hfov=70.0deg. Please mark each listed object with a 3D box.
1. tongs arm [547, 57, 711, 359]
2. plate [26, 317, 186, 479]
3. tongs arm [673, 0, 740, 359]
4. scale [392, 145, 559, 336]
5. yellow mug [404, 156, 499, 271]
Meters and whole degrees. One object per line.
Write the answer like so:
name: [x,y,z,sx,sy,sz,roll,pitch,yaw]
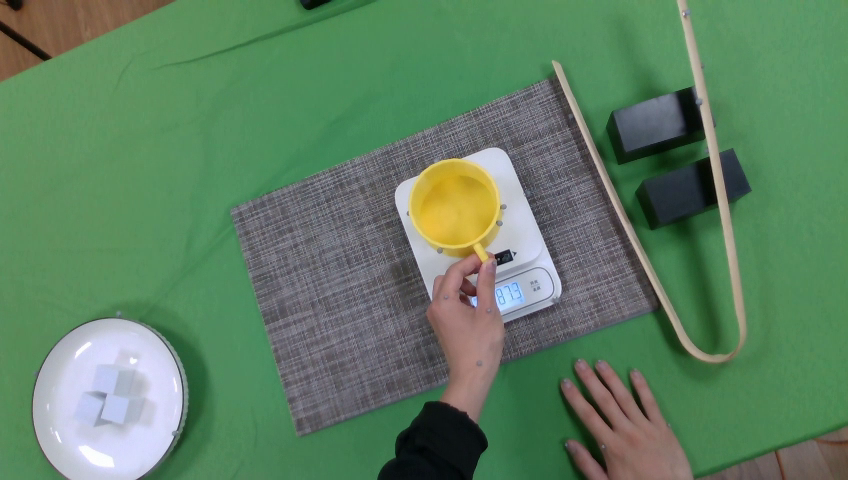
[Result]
tongs arm: [0.226,-0.045,0.693,0.028,0.028,0.385,-28,77,29]
plate: [-0.390,0.201,0.756,0.207,0.039,0.207,-1,82,9]
tongs arm: [0.288,-0.067,0.646,0.050,0.026,0.384,-13,86,34]
scale: [0.058,-0.001,0.711,0.148,0.032,0.200,-22,80,6]
yellow mug: [0.040,-0.023,0.669,0.100,0.064,0.130,-30,79,3]
